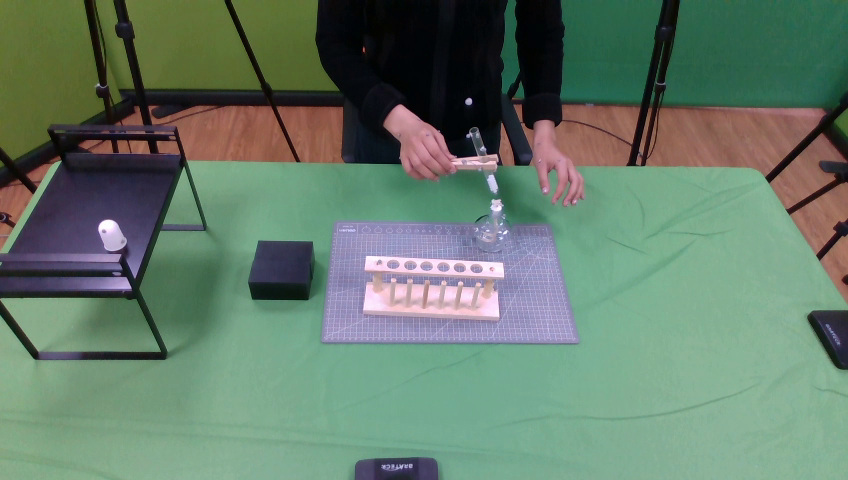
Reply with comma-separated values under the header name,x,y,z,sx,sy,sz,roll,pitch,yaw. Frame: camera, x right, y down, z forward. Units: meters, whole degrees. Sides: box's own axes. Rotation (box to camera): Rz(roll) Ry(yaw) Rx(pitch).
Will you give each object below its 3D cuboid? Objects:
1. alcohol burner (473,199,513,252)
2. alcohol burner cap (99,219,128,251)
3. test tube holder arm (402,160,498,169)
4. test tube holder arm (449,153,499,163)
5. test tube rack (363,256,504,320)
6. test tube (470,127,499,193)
name,x,y,z,sx,sy,sz,roll,pitch,yaw
alcohol burner,0.135,-0.034,1.174,0.078,0.120,0.077,1,47,-1
alcohol burner cap,-0.467,-0.010,0.907,0.034,0.048,0.033,1,47,-1
test tube holder arm,0.043,-0.132,1.059,0.178,0.015,0.013,2,52,25
test tube holder arm,0.085,-0.137,1.044,0.087,0.015,0.010,-5,50,20
test tube rack,0.015,0.085,1.069,0.242,0.085,0.066,3,45,-2
test tube,0.105,-0.134,1.033,0.017,0.151,0.017,-12,49,14
